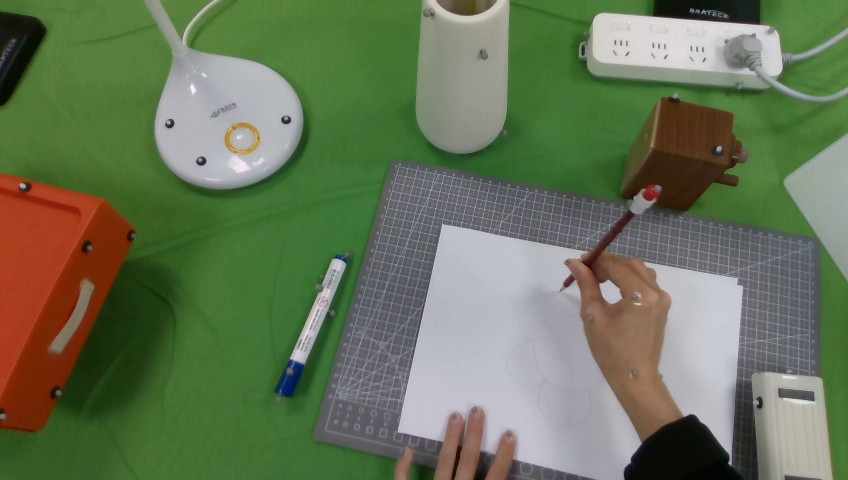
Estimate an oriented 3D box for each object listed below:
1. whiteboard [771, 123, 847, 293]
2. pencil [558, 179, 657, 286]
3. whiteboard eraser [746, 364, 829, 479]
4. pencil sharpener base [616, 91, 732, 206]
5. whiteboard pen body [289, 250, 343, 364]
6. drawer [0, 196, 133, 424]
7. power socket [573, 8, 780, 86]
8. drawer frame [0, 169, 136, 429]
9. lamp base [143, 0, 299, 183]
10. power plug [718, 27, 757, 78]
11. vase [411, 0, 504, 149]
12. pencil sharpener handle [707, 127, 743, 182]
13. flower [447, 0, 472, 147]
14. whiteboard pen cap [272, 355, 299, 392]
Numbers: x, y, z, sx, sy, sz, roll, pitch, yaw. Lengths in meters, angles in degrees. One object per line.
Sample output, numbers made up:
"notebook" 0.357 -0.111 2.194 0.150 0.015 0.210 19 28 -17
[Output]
"whiteboard" 0.514 -0.058 0.510 0.144 0.306 0.215 -12 67 -24
"pencil" 0.147 0.002 0.515 0.012 0.195 0.012 4 64 -7
"whiteboard eraser" 0.317 0.168 0.532 0.055 0.042 0.112 6 69 2
"pencil sharpener base" 0.244 -0.086 0.597 0.076 0.108 0.061 14 69 6
"whiteboard pen body" -0.108 0.072 0.587 0.017 0.017 0.140 15 66 7
"drawer" -0.399 0.035 0.527 0.211 0.074 0.193 14 71 6
"power socket" 0.286 -0.219 0.687 0.227 0.033 0.072 6 70 3
"drawer frame" -0.405 0.036 0.529 0.213 0.083 0.200 14 71 4
"lamp base" -0.228 -0.171 0.597 0.160 0.181 0.178 -41 71 -14
"power plug" 0.333 -0.196 0.652 0.035 0.053 0.072 15 72 7
"vase" 0.032 -0.172 0.584 0.098 0.201 0.097 -1 68 2
"pencil sharpener handle" 0.293 -0.078 0.581 0.030 0.068 0.036 14 68 6
"flower" 0.040 -0.218 0.513 0.038 0.364 0.043 -1 50 -7
"whiteboard pen cap" -0.128 0.123 0.564 0.018 0.018 0.033 16 64 8
